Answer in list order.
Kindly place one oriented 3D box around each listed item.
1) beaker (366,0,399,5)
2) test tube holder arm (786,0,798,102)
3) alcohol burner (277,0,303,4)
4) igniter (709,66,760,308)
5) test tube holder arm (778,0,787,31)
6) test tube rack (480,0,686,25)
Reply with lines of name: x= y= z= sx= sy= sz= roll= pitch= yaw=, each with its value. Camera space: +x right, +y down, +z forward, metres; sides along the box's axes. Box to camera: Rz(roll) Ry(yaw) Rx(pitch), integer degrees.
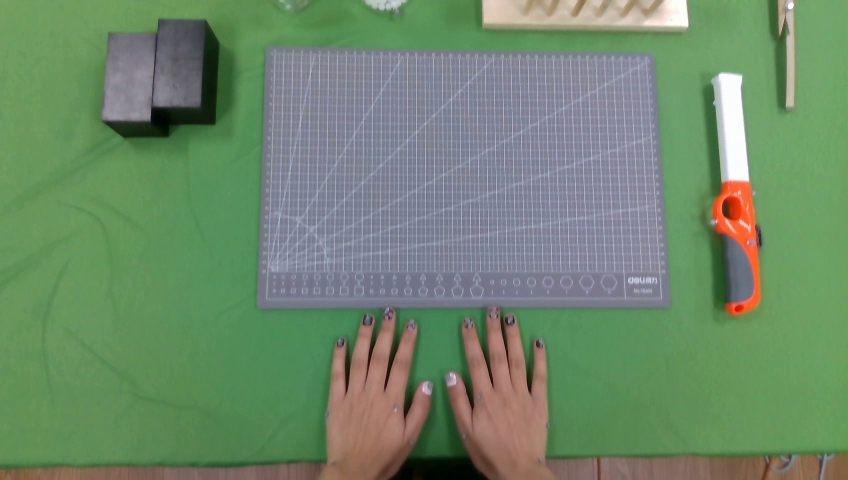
beaker: x=-0.050 y=-0.314 z=0.663 sx=0.084 sy=0.100 sz=0.074 roll=28 pitch=81 yaw=3
test tube holder arm: x=0.433 y=-0.250 z=0.716 sx=0.013 sy=0.015 sz=0.178 roll=-5 pitch=80 yaw=32
alcohol burner: x=-0.154 y=-0.309 z=0.650 sx=0.078 sy=0.119 sz=0.077 roll=0 pitch=79 yaw=-2
igniter: x=0.347 y=-0.061 z=0.682 sx=0.057 sy=0.025 sz=0.275 roll=2 pitch=81 yaw=-12
test tube holder arm: x=0.429 y=-0.294 z=0.725 sx=0.010 sy=0.015 sz=0.087 roll=-3 pitch=81 yaw=32
test tube rack: x=0.188 y=-0.295 z=0.679 sx=0.242 sy=0.085 sz=0.066 roll=0 pitch=81 yaw=-3
